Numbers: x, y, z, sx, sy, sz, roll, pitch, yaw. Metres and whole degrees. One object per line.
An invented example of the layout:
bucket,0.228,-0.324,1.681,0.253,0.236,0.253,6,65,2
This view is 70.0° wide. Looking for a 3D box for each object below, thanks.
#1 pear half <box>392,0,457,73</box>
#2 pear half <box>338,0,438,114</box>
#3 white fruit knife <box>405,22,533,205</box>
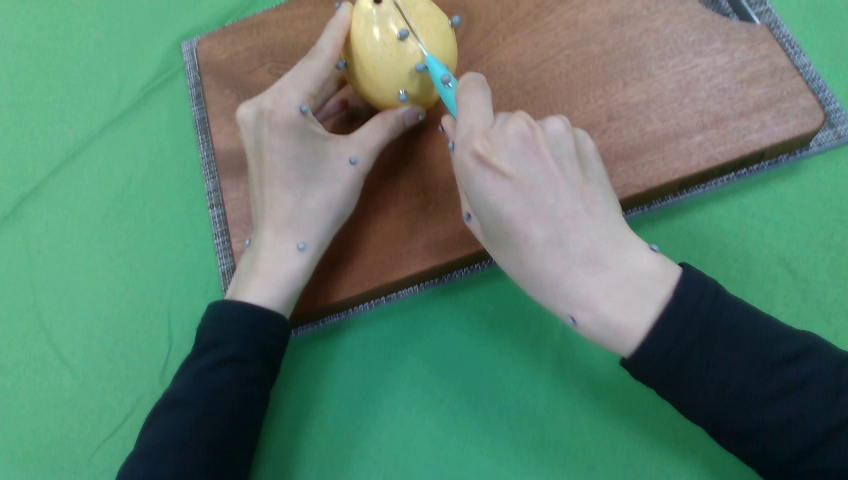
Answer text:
pear half,0.002,-0.143,0.407,0.031,0.089,0.069,-36,59,-3
pear half,-0.032,-0.128,0.398,0.056,0.111,0.075,-33,60,-2
white fruit knife,0.008,-0.105,0.377,0.016,0.027,0.205,-33,65,3
